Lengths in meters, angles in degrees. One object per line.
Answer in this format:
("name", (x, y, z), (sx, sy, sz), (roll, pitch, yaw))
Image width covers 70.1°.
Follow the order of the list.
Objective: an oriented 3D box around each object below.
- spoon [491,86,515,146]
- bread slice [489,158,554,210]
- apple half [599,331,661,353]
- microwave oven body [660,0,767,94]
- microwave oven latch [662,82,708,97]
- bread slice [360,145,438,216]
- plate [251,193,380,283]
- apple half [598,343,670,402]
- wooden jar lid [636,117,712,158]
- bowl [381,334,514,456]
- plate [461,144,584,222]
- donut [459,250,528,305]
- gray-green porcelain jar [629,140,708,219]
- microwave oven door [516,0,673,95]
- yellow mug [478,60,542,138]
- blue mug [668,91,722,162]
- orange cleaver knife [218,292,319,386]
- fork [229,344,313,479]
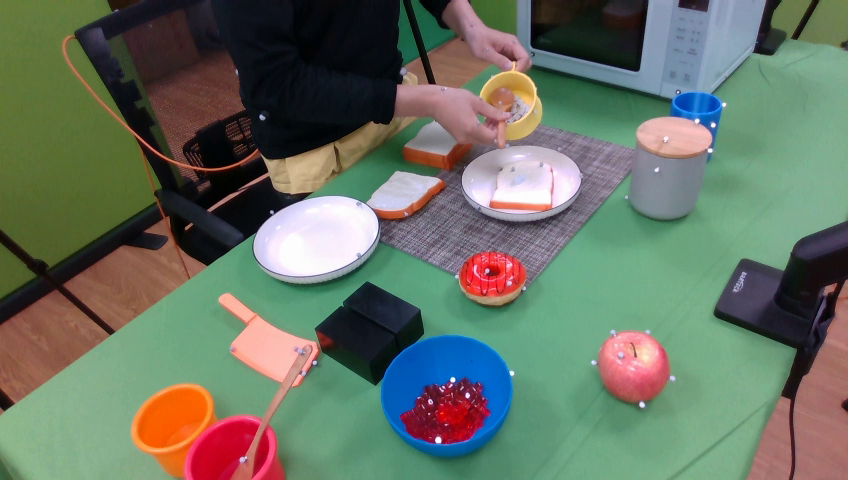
("spoon", (0.127, -0.205, 0.989), (0.041, 0.022, 0.193), (6, 36, 4))
("bread slice", (0.173, -0.100, 1.047), (0.104, 0.019, 0.131), (4, 43, 12))
("apple half", (0.249, 0.134, 0.738), (0.081, 0.081, 0.032), (-1, 46, 7))
("microwave oven body", (0.473, -0.516, 1.313), (0.438, 0.261, 0.327), (26, 51, 34))
("microwave oven latch", (0.518, -0.298, 1.202), (0.078, 0.029, 0.030), (28, 53, 35))
("bread slice", (-0.053, -0.103, 1.046), (0.106, 0.018, 0.134), (18, 66, 23))
("plate", (-0.173, -0.001, 0.985), (0.209, 0.038, 0.208), (-4, 41, 4))
("apple half", (0.247, 0.161, 0.710), (0.081, 0.075, 0.053), (2, 47, 5))
("wooden jar lid", (0.377, -0.151, 0.917), (0.108, 0.021, 0.108), (-2, 42, 3))
("bowl", (0.029, 0.192, 0.701), (0.151, 0.077, 0.150), (-4, 40, 4))
("plate", (0.168, -0.095, 1.040), (0.207, 0.039, 0.206), (-4, 40, 4))
("donut", (0.100, 0.053, 0.873), (0.099, 0.048, 0.098), (-4, 40, 4))
("gray-green porcelain jar", (0.383, -0.104, 0.958), (0.106, 0.127, 0.105), (-4, 41, 4))
("microwave oven door", (0.344, -0.458, 1.257), (0.353, 0.245, 0.039), (26, 52, 33))
("yellow mug", (0.151, -0.250, 1.048), (0.099, 0.064, 0.130), (4, 78, 18))
("blue mug", (0.474, -0.207, 1.078), (0.082, 0.106, 0.116), (4, 42, 13))
("orange cleaver knife", (-0.235, 0.136, 0.850), (0.209, 0.012, 0.077), (25, 57, 30))
("fork", (-0.173, 0.205, 0.662), (0.028, 0.019, 0.207), (29, 94, 35))
